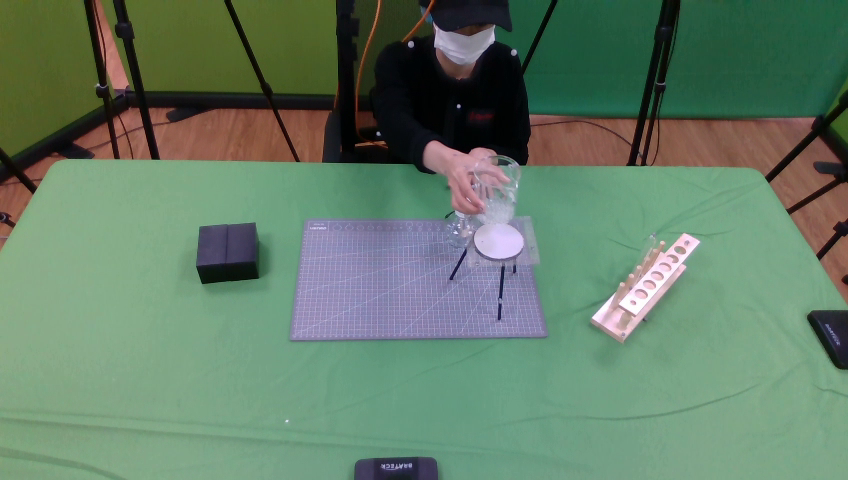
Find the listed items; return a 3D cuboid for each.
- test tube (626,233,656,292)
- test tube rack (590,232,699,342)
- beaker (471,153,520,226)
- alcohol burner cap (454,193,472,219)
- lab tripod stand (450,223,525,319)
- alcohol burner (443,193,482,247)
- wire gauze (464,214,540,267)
[{"bbox_3d":[0.384,0.042,1.079,0.017,0.151,0.017,1,48,-1],"label":"test tube"},{"bbox_3d":[0.407,0.074,1.112,0.066,0.085,0.242,35,53,26],"label":"test tube rack"},{"bbox_3d":[0.117,-0.078,0.985,0.074,0.101,0.083,-30,54,-20],"label":"beaker"},{"bbox_3d":[0.076,-0.068,1.151,0.034,0.048,0.033,4,46,-4],"label":"alcohol burner cap"},{"bbox_3d":[0.120,0.046,1.080,0.148,0.132,0.147,1,47,-1],"label":"lab tripod stand"},{"bbox_3d":[0.075,-0.043,1.177,0.078,0.120,0.077,2,44,-1],"label":"alcohol burner"},{"bbox_3d":[0.131,-0.002,1.034,0.121,0.011,0.124,1,45,-2],"label":"wire gauze"}]
